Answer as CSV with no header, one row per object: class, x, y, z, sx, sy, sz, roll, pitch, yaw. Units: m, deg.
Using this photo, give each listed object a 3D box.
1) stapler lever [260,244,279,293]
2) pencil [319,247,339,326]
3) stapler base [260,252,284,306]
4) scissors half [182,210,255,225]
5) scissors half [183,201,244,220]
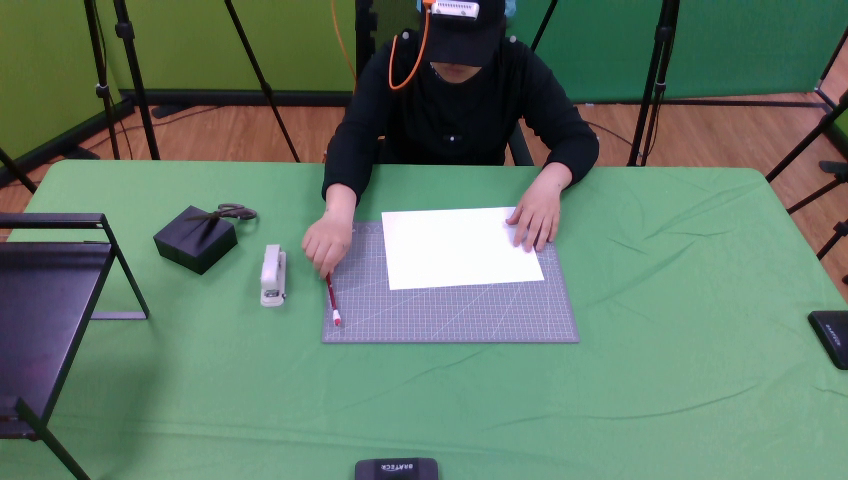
stapler lever,-0.279,0.045,1.096,0.027,0.040,0.117,-2,44,-10
pencil,-0.175,0.079,1.099,0.012,0.012,0.192,-9,45,-13
stapler base,-0.280,0.064,1.113,0.041,0.024,0.129,-2,44,-10
scissors half,-0.389,-0.042,1.158,0.040,0.013,0.175,41,21,22
scissors half,-0.405,-0.054,1.163,0.040,0.013,0.175,29,18,7
